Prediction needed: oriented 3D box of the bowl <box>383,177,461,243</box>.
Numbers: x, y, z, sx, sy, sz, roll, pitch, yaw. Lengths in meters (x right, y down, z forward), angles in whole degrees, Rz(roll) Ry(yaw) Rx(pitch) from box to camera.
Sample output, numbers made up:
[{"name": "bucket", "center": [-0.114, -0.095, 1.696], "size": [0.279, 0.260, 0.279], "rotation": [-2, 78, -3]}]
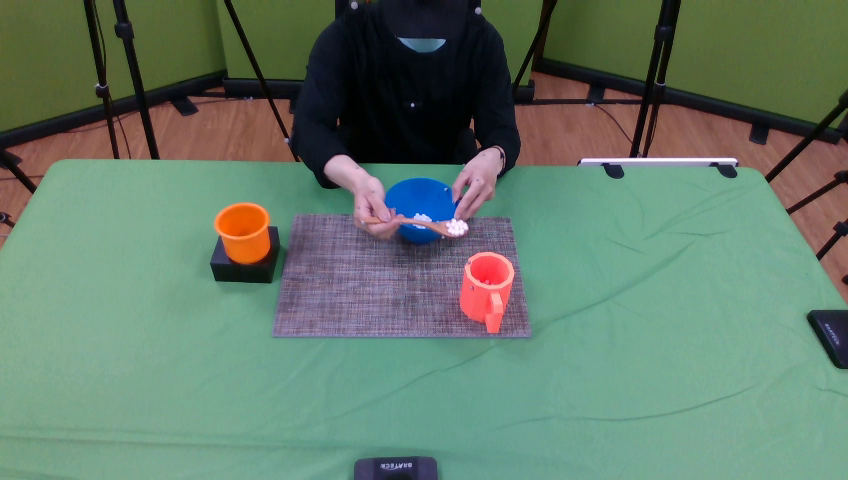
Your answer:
[{"name": "bowl", "center": [-0.005, -0.047, 1.197], "size": [0.151, 0.077, 0.150], "rotation": [2, 46, -2]}]

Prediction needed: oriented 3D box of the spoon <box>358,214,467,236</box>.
[{"name": "spoon", "center": [-0.017, -0.031, 1.025], "size": [0.194, 0.022, 0.041], "rotation": [7, 50, -22]}]

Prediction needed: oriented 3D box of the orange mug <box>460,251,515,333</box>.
[{"name": "orange mug", "center": [0.114, 0.095, 1.053], "size": [0.083, 0.101, 0.125], "rotation": [-5, 42, -8]}]
